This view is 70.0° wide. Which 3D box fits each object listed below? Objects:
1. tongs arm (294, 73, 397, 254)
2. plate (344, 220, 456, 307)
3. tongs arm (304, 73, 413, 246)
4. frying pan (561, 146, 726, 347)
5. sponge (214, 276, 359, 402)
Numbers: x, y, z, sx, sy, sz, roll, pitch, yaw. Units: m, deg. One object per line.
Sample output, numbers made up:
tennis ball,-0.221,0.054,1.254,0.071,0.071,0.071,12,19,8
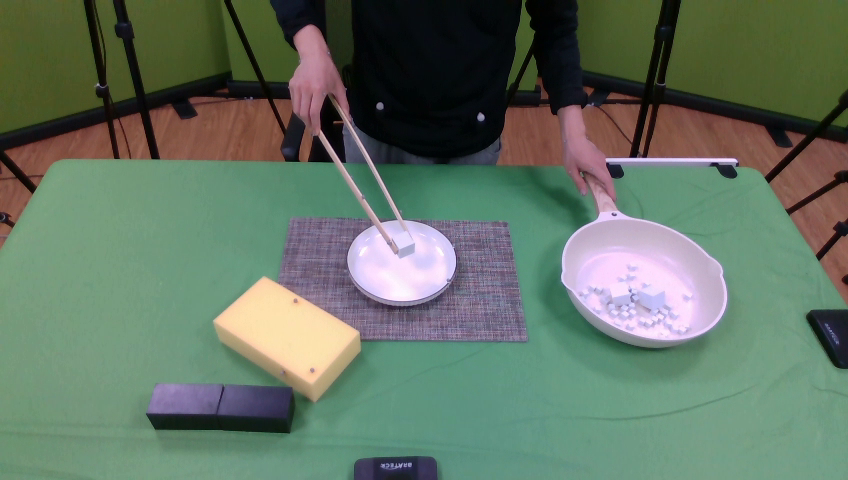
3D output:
tongs arm,-0.140,-0.144,1.110,0.051,0.026,0.383,-32,80,-17
plate,-0.044,0.047,1.133,0.208,0.039,0.206,3,46,-2
tongs arm,-0.120,-0.154,1.117,0.028,0.028,0.386,-28,79,-13
frying pan,0.378,-0.005,1.175,0.307,0.103,0.484,-4,55,-9
sponge,-0.225,0.158,0.998,0.206,0.061,0.118,27,52,18
